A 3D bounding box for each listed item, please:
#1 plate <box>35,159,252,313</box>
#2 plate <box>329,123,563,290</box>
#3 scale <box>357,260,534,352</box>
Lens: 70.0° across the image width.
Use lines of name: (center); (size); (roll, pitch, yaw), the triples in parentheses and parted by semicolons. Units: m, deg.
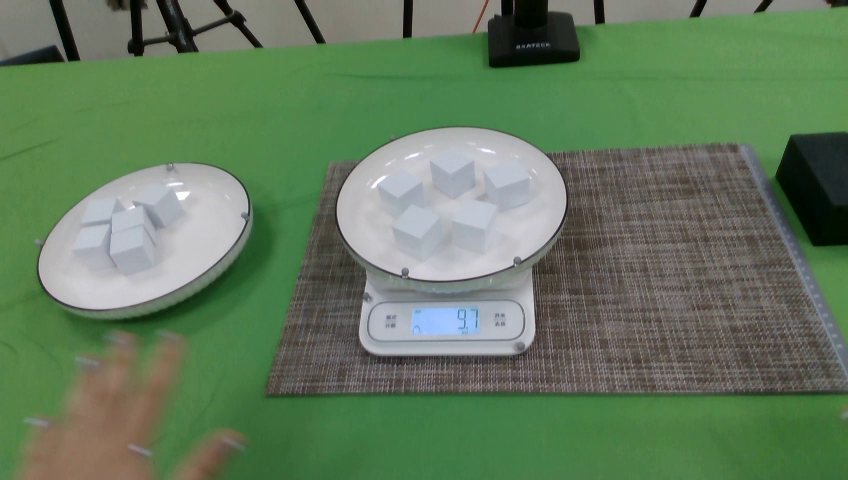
plate: (-0.275, -0.004, 0.612); (0.209, 0.038, 0.207); (-3, 45, 4)
plate: (0.020, -0.031, 0.551); (0.207, 0.039, 0.205); (-3, 46, 4)
scale: (0.022, 0.012, 0.555); (0.148, 0.032, 0.199); (-1, 46, 7)
